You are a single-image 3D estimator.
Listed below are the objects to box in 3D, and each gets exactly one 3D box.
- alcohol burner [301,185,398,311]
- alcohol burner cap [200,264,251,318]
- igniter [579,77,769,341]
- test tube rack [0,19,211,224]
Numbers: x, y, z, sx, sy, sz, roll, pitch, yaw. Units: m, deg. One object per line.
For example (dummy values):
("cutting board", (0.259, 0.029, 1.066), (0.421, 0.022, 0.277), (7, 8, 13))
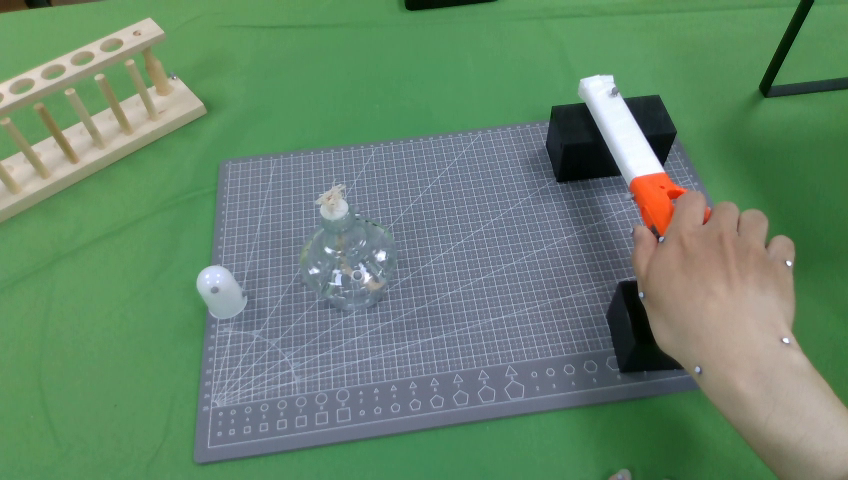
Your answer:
("alcohol burner", (-0.060, 0.003, 0.468), (0.078, 0.120, 0.077), (-2, 52, 3))
("alcohol burner cap", (-0.163, 0.039, 0.492), (0.034, 0.048, 0.033), (-2, 55, 3))
("igniter", (0.185, -0.039, 0.479), (0.057, 0.025, 0.273), (-11, 52, -3))
("test tube rack", (-0.344, -0.115, 0.588), (0.242, 0.086, 0.066), (-35, 60, -20))
